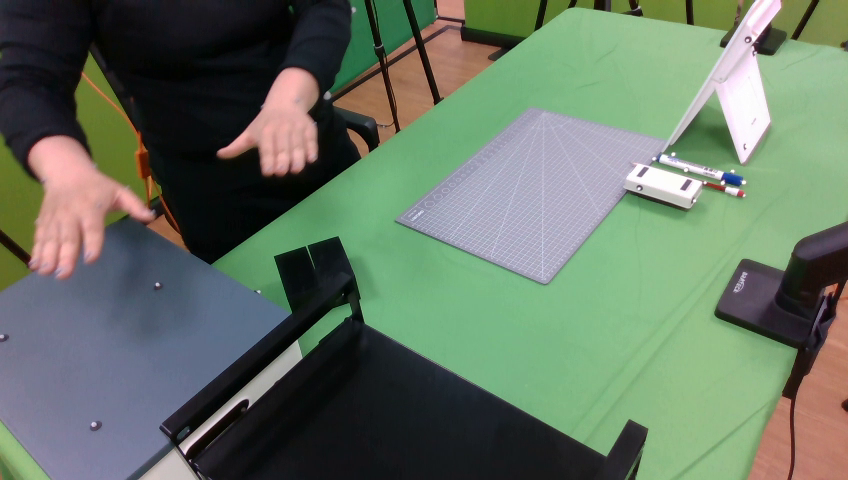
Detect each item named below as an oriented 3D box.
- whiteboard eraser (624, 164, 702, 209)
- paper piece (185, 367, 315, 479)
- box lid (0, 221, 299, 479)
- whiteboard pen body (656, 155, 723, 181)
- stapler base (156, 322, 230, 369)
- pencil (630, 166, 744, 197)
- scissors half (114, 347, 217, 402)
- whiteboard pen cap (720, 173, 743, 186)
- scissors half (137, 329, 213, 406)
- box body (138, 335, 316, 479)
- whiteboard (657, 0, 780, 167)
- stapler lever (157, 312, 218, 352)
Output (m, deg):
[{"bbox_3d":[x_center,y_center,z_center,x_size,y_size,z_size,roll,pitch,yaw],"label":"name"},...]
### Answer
[{"bbox_3d":[0.396,-0.087,1.003,0.112,0.042,0.056,22,47,31],"label":"whiteboard eraser"},{"bbox_3d":[-0.222,0.234,0.757,0.136,0.009,0.137,-39,36,-23],"label":"paper piece"},{"bbox_3d":[-0.346,0.106,0.680,0.368,0.015,0.264,23,49,31],"label":"box lid"},{"bbox_3d":[0.475,-0.123,1.052,0.139,0.017,0.017,24,50,32],"label":"whiteboard pen body"},{"bbox_3d":[-0.327,0.141,0.850,0.129,0.024,0.041,16,35,34],"label":"stapler base"},{"bbox_3d":[0.447,-0.103,1.039,0.192,0.012,0.012,21,48,30],"label":"pencil"},{"bbox_3d":[-0.349,0.185,0.812,0.174,0.013,0.040,16,52,18],"label":"scissors half"},{"bbox_3d":[0.519,-0.103,1.020,0.033,0.018,0.018,23,49,30],"label":"whiteboard pen cap"},{"bbox_3d":[-0.336,0.173,0.824,0.040,0.013,0.174,-35,54,-30],"label":"scissors half"},{"bbox_3d":[-0.340,0.161,0.728,0.361,0.161,0.255,23,49,31],"label":"box body"},{"bbox_3d":[0.571,-0.272,1.038,0.143,0.306,0.218,36,54,17],"label":"whiteboard"},{"bbox_3d":[-0.330,0.121,0.838,0.117,0.040,0.027,18,36,33],"label":"stapler lever"}]
